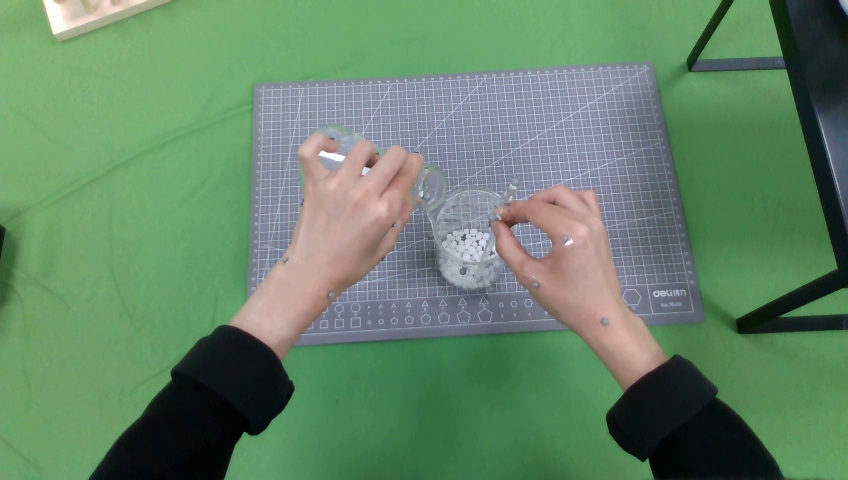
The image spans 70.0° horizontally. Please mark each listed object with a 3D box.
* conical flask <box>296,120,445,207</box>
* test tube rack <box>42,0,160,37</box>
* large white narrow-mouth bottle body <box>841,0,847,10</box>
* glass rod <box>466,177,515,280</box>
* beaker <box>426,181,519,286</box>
[{"bbox_3d":[-0.042,-0.057,0.511,0.121,0.076,0.075,15,70,32],"label":"conical flask"},{"bbox_3d":[-0.333,-0.326,0.693,0.242,0.085,0.066,-24,73,-7],"label":"test tube rack"},{"bbox_3d":[0.381,-0.235,0.407,0.102,0.196,0.101,-1,70,3],"label":"large white narrow-mouth bottle body"},{"bbox_3d":[0.053,-0.003,0.515,0.008,0.201,0.008,2,66,-5],"label":"glass rod"},{"bbox_3d":[0.042,-0.002,0.571,0.084,0.101,0.073,20,72,8],"label":"beaker"}]
